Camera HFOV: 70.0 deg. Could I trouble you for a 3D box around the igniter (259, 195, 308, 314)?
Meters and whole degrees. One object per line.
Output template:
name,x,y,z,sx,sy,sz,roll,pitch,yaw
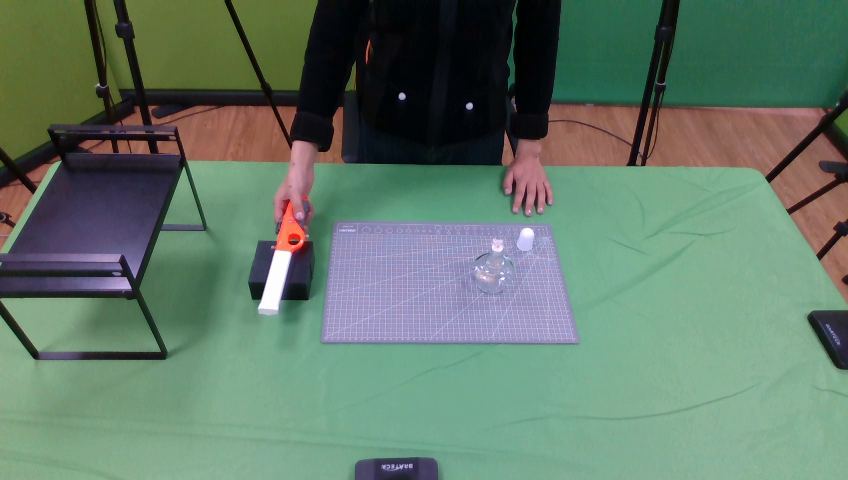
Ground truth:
igniter,-0.252,0.016,1.094,0.057,0.025,0.275,7,48,-3

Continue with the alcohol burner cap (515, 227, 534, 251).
alcohol burner cap,0.202,-0.005,1.202,0.034,0.048,0.033,3,46,-3

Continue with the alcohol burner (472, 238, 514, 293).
alcohol burner,0.128,0.041,1.101,0.078,0.120,0.077,1,47,-1
